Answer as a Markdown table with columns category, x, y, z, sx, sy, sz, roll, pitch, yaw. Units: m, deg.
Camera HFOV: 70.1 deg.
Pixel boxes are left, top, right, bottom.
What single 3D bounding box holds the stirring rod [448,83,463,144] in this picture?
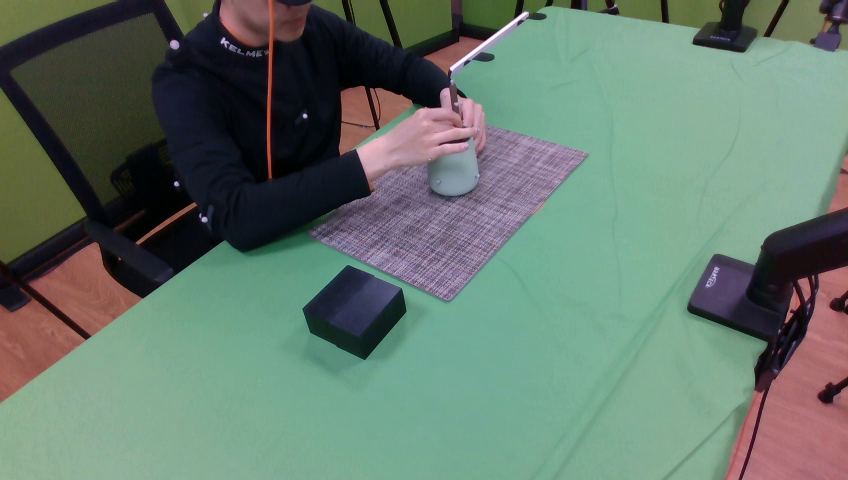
| category | x | y | z | sx | sy | sz | roll | pitch | yaw |
| --- | --- | --- | --- | --- | --- | --- | --- | --- | --- |
| stirring rod | 0.059 | -0.179 | 1.021 | 0.005 | 0.177 | 0.014 | 17 | 43 | 36 |

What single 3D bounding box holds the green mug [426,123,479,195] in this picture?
| category | x | y | z | sx | sy | sz | roll | pitch | yaw |
| --- | --- | --- | --- | --- | --- | --- | --- | --- | --- |
| green mug | 0.053 | -0.150 | 1.067 | 0.092 | 0.105 | 0.125 | 5 | 42 | 14 |
